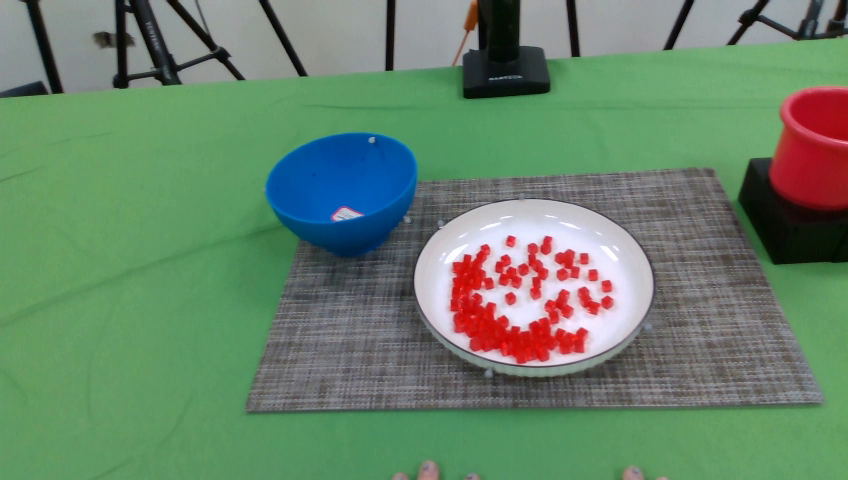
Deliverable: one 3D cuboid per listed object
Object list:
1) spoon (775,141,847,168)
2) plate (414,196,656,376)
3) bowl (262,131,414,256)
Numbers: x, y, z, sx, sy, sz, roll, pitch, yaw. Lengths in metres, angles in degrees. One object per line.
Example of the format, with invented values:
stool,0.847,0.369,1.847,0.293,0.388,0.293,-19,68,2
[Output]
spoon,0.375,-0.086,0.491,0.041,0.193,0.021,-26,91,-20
plate,0.096,0.039,0.542,0.207,0.039,0.205,-4,42,4
bowl,-0.080,-0.037,0.618,0.151,0.077,0.150,-4,43,4
